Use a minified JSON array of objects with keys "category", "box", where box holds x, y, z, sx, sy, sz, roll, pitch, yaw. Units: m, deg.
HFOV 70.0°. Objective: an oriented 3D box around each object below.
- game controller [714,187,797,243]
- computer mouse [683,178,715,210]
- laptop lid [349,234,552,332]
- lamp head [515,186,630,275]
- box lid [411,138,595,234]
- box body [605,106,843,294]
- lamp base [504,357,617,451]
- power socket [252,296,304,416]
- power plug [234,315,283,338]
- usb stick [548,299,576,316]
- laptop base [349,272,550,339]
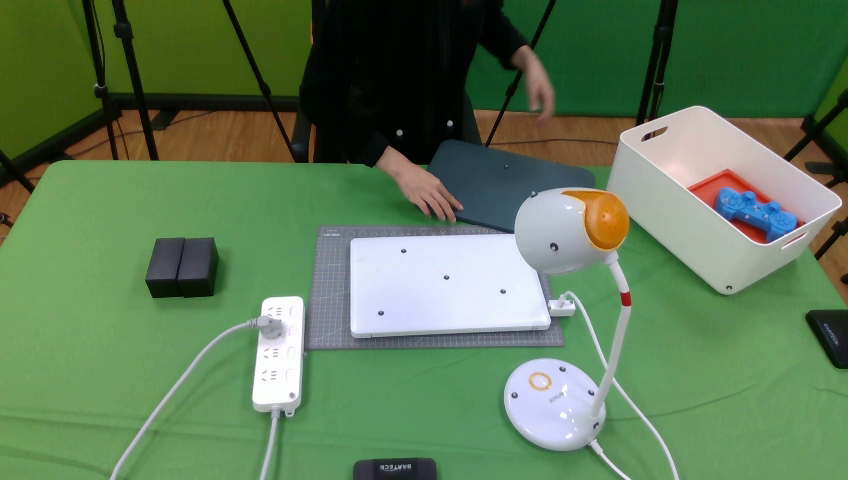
[{"category":"game controller","box":[0.646,-0.057,1.183,0.154,0.052,0.097,27,54,20]},{"category":"computer mouse","box":[0.596,-0.078,1.290,0.117,0.041,0.063,56,46,-7]},{"category":"laptop lid","box":[0.040,0.071,1.118,0.357,0.013,0.240,0,44,-5]},{"category":"lamp head","box":[0.188,-0.013,0.728,0.112,0.112,0.122,-25,9,-25]},{"category":"box lid","box":[0.181,-0.112,1.328,0.371,0.015,0.262,14,46,10]},{"category":"box body","box":[0.582,-0.089,1.230,0.254,0.161,0.361,-22,52,-23]},{"category":"lamp base","box":[0.220,0.211,0.903,0.160,0.181,0.178,-33,59,-30]},{"category":"power socket","box":[-0.238,0.181,0.997,0.072,0.033,0.225,-3,47,-5]},{"category":"power plug","box":[-0.269,0.143,1.000,0.072,0.053,0.035,4,47,3]},{"category":"usb stick","box":[0.239,0.121,1.084,0.059,0.027,0.021,-1,51,-1]},{"category":"laptop base","box":[0.039,0.081,1.124,0.355,0.023,0.234,-2,43,-6]}]
